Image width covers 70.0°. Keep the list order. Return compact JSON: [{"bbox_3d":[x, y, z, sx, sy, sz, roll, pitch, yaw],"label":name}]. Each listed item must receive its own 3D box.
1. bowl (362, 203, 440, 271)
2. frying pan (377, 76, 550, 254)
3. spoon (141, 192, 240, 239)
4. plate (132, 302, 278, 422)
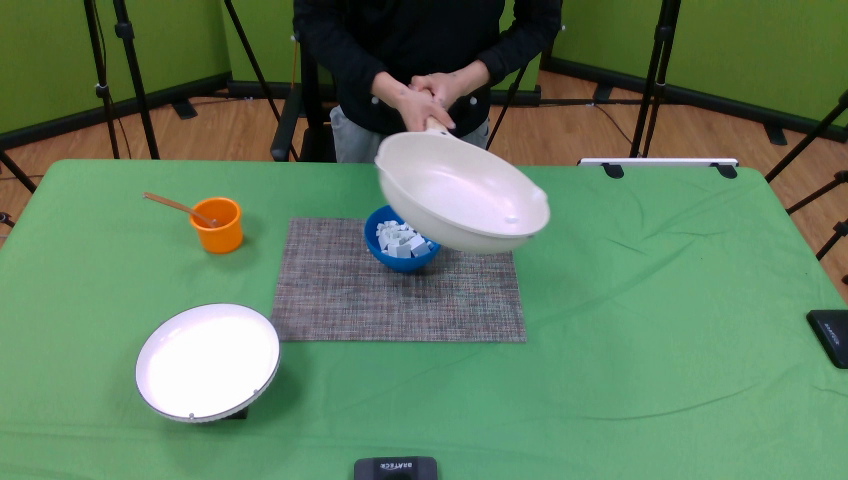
[{"bbox_3d":[-0.041,0.005,1.144,0.151,0.077,0.150,2,46,-2],"label":"bowl"},{"bbox_3d":[0.039,-0.151,1.059,0.308,0.103,0.484,8,44,-24],"label":"frying pan"},{"bbox_3d":[-0.428,-0.048,1.123,0.021,0.195,0.041,-39,44,20],"label":"spoon"},{"bbox_3d":[-0.325,0.186,0.916,0.208,0.039,0.206,3,44,-2],"label":"plate"}]
